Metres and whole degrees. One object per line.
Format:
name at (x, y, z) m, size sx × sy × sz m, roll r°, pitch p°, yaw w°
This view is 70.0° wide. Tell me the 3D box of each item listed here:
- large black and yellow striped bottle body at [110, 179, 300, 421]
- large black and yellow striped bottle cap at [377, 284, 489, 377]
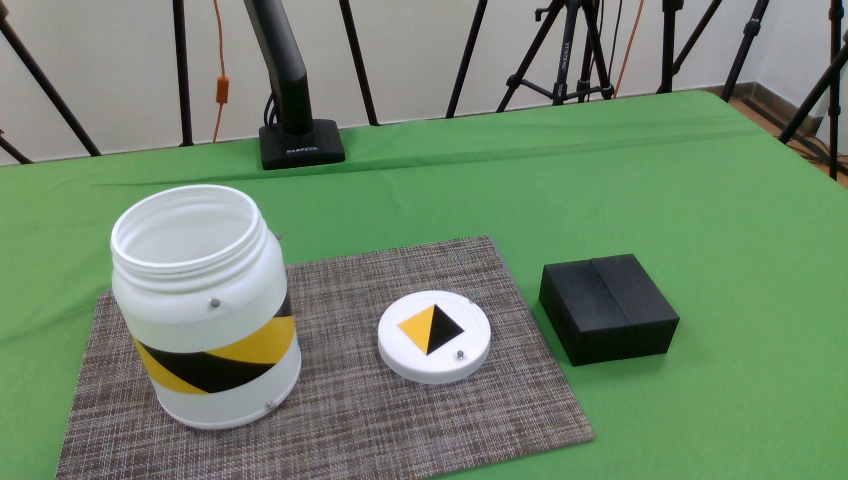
large black and yellow striped bottle body at (-0.183, 0.052, 0.522) m, size 0.131 × 0.185 × 0.129 m, roll 0°, pitch 39°, yaw 0°
large black and yellow striped bottle cap at (0.009, 0.089, 0.614) m, size 0.115 × 0.019 × 0.114 m, roll 0°, pitch 38°, yaw 1°
